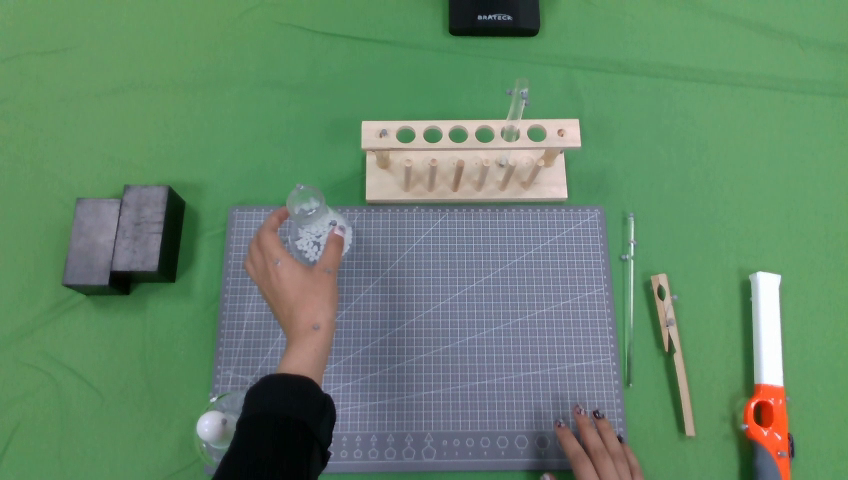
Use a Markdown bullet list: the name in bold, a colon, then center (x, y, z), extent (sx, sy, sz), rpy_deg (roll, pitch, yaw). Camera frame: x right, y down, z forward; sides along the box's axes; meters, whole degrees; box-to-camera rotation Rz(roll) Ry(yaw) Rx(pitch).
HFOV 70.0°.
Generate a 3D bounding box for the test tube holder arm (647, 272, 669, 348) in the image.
- **test tube holder arm**: center (0.270, 0.080, 0.693), extent (0.010, 0.015, 0.087), rpy_deg (-17, 71, 32)

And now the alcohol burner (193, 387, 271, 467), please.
- **alcohol burner**: center (-0.194, 0.183, 0.597), extent (0.078, 0.120, 0.077), rpy_deg (0, 71, 1)

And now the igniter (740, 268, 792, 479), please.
- **igniter**: center (0.373, 0.166, 0.664), extent (0.057, 0.025, 0.275), rpy_deg (10, 73, -9)

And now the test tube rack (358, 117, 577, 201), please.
- **test tube rack**: center (0.048, -0.092, 0.703), extent (0.242, 0.085, 0.066), rpy_deg (-1, 73, -2)

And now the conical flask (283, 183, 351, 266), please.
- **conical flask**: center (-0.122, -0.021, 0.655), extent (0.075, 0.122, 0.075), rpy_deg (0, 73, -1)

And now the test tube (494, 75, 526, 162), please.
- **test tube**: center (0.092, -0.128, 0.663), extent (0.017, 0.151, 0.017), rpy_deg (0, 67, 0)

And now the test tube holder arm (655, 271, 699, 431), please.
- **test tube holder arm**: center (0.281, 0.121, 0.677), extent (0.013, 0.015, 0.177), rpy_deg (-19, 70, 31)

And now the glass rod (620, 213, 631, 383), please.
- **glass rod**: center (0.233, 0.064, 0.700), extent (0.008, 0.008, 0.198), rpy_deg (6, 76, 0)

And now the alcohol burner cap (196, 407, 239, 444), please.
- **alcohol burner cap**: center (-0.194, 0.170, 0.563), extent (0.034, 0.048, 0.033), rpy_deg (0, 65, -1)
